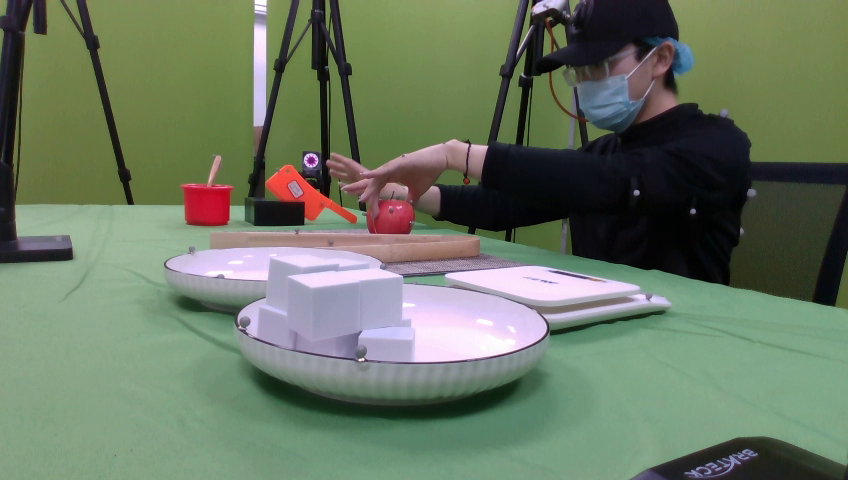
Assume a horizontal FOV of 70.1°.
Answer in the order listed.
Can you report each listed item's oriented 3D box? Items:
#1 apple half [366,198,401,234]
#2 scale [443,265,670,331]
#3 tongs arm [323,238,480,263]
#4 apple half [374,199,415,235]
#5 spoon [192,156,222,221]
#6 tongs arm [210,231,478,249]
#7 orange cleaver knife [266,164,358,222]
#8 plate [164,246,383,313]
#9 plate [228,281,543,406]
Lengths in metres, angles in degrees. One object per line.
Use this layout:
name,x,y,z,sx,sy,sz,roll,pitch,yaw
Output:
apple half,-0.065,-0.035,1.031,0.081,0.074,0.053,-6,8,-32
scale,0.131,0.052,0.603,0.202,0.031,0.148,-2,9,-37
tongs arm,-0.070,0.018,0.801,0.390,0.028,0.028,-2,5,-34
apple half,-0.043,-0.031,1.000,0.082,0.081,0.032,-2,6,-33
spoon,-0.430,-0.108,1.222,0.041,0.021,0.193,-1,52,0
tongs arm,-0.106,0.005,0.876,0.386,0.026,0.050,1,7,-20
orange cleaver knife,-0.238,-0.082,1.296,0.212,0.077,0.012,35,-8,-26
plate,-0.145,0.038,0.600,0.209,0.038,0.209,2,7,0
plate,-0.025,0.067,0.413,0.208,0.039,0.207,3,7,0
